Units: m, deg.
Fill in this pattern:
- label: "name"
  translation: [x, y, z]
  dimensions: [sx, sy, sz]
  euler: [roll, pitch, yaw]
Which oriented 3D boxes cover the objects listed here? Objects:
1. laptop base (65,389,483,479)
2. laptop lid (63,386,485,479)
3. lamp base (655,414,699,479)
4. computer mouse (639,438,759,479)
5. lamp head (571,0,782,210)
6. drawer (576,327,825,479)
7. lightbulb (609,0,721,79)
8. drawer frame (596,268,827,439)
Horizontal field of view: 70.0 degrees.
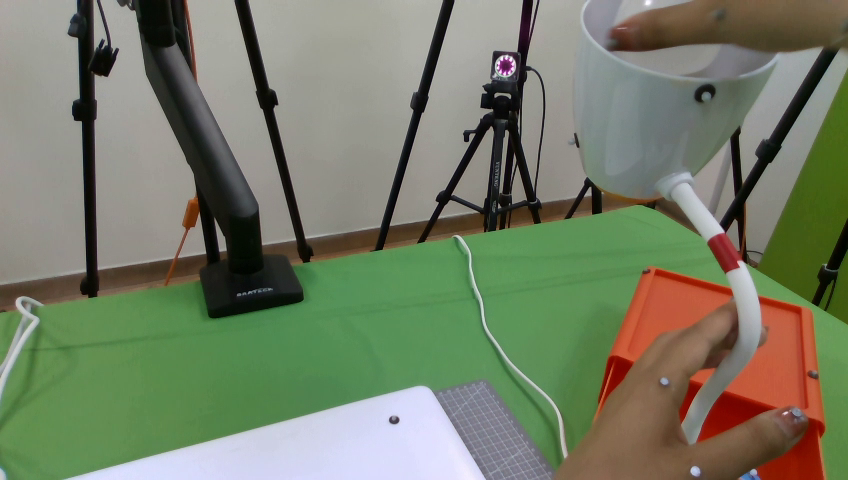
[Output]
- label: "laptop base"
  translation: [-0.113, 0.244, 0.491]
  dimensions: [0.355, 0.023, 0.233]
  euler: [-9, 34, -23]
- label: "laptop lid"
  translation: [-0.111, 0.234, 0.484]
  dimensions: [0.358, 0.013, 0.239]
  euler: [-9, 33, -21]
- label: "lamp base"
  translation: [0.166, 0.219, 0.396]
  dimensions: [0.161, 0.181, 0.177]
  euler: [1, 26, -8]
- label: "computer mouse"
  translation: [0.250, 0.219, 0.548]
  dimensions: [0.117, 0.041, 0.062]
  euler: [15, 30, 13]
- label: "lamp head"
  translation: [0.145, -0.079, 0.380]
  dimensions: [0.112, 0.124, 0.111]
  euler: [-1, 43, 2]
- label: "drawer"
  translation: [0.271, 0.180, 0.594]
  dimensions: [0.193, 0.074, 0.211]
  euler: [14, 30, 21]
- label: "lightbulb"
  translation: [0.137, -0.102, 0.360]
  dimensions: [0.059, 0.109, 0.059]
  euler: [-3, 50, 4]
- label: "drawer frame"
  translation: [0.320, 0.133, 0.682]
  dimensions: [0.200, 0.083, 0.213]
  euler: [15, 30, 22]
